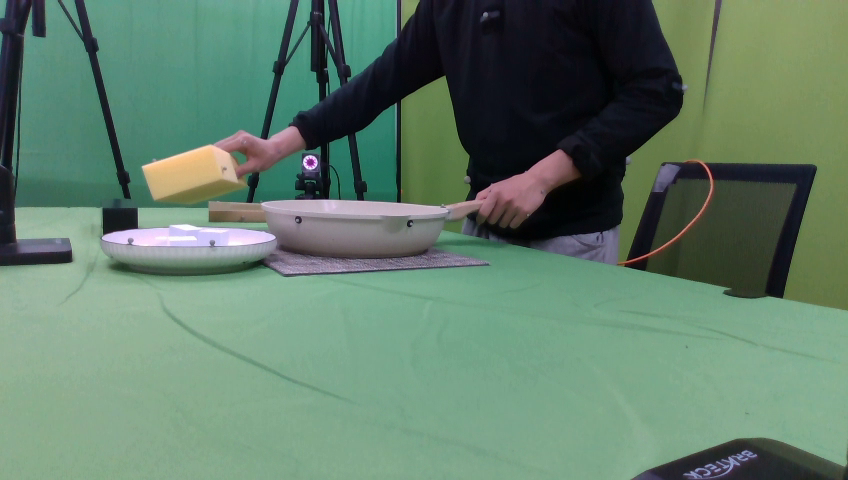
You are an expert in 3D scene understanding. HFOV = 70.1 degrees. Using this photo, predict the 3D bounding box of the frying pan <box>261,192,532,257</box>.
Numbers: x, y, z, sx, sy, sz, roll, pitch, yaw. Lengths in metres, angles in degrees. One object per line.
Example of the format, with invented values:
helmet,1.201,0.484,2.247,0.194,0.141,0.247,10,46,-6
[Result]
frying pan,-0.016,-0.044,1.006,0.490,0.102,0.305,-11,13,-26

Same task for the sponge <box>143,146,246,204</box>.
sponge,-0.407,-0.113,1.098,0.118,0.061,0.206,-19,4,-5

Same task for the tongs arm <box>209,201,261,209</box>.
tongs arm,-0.306,-0.071,1.430,0.386,0.026,0.050,1,8,-15

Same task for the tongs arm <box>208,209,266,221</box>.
tongs arm,-0.280,-0.056,1.355,0.389,0.028,0.028,-1,6,-28

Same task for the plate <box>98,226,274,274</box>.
plate,-0.301,0.012,0.778,0.208,0.039,0.207,3,7,0
